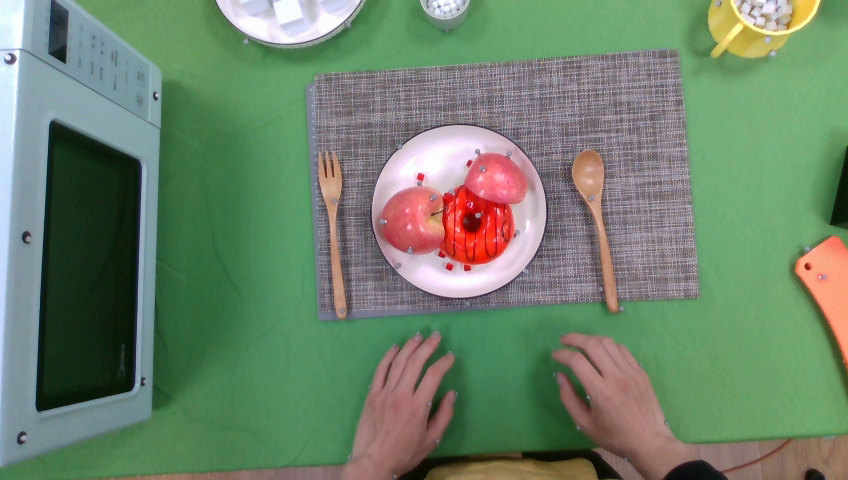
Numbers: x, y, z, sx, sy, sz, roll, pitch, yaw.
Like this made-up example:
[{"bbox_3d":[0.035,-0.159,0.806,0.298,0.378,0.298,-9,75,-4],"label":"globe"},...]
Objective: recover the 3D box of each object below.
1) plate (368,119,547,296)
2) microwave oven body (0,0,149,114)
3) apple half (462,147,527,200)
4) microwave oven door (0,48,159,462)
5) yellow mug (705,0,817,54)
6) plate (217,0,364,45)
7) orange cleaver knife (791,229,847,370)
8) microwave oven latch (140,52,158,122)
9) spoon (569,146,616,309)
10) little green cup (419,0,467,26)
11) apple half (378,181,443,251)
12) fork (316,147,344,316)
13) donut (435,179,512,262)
[{"bbox_3d":[0.039,-0.038,0.717,0.209,0.038,0.208,0,85,5],"label":"plate"},{"bbox_3d":[-0.498,-0.018,0.643,0.326,0.261,0.440,-1,85,4],"label":"microwave oven body"},{"bbox_3d":[0.085,-0.082,0.692,0.081,0.033,0.080,8,46,-8],"label":"apple half"},{"bbox_3d":[-0.352,0.020,0.624,0.039,0.244,0.355,-2,84,5],"label":"microwave oven door"},{"bbox_3d":[0.379,-0.267,0.703,0.099,0.064,0.131,44,90,7],"label":"yellow mug"},{"bbox_3d":[-0.163,-0.342,0.764,0.207,0.039,0.207,0,85,4],"label":"plate"},{"bbox_3d":[0.485,0.093,0.685,0.077,0.012,0.210,-19,82,-3],"label":"orange cleaver knife"},{"bbox_3d":[-0.345,-0.187,0.744,0.030,0.029,0.079,0,85,4],"label":"microwave oven latch"},{"bbox_3d":[0.203,-0.015,0.710,0.042,0.021,0.193,-8,83,-19],"label":"spoon"},{"bbox_3d":[0.024,-0.297,0.746,0.061,0.039,0.061,0,84,5],"label":"little green cup"},{"bbox_3d":[-0.021,-0.028,0.690,0.074,0.054,0.080,-5,81,45],"label":"apple half"},{"bbox_3d":[-0.111,-0.012,0.735,0.028,0.018,0.206,-5,82,-2],"label":"fork"},{"bbox_3d":[0.053,-0.023,0.704,0.099,0.048,0.099,0,87,5],"label":"donut"}]
